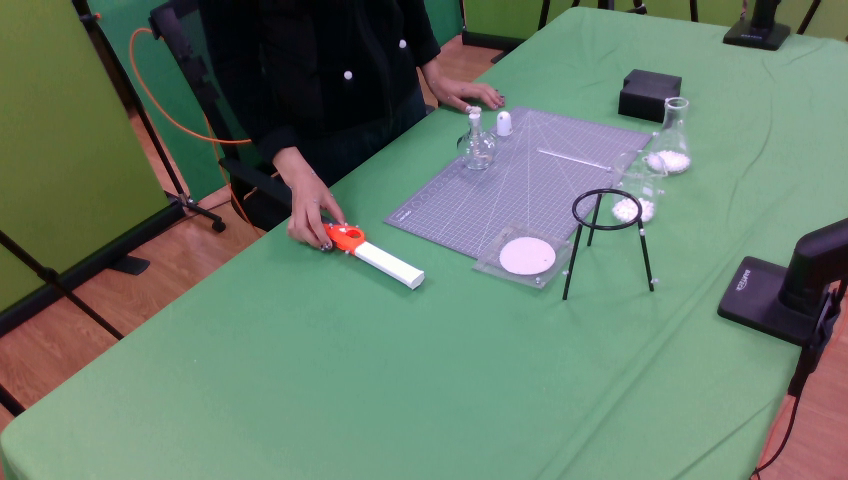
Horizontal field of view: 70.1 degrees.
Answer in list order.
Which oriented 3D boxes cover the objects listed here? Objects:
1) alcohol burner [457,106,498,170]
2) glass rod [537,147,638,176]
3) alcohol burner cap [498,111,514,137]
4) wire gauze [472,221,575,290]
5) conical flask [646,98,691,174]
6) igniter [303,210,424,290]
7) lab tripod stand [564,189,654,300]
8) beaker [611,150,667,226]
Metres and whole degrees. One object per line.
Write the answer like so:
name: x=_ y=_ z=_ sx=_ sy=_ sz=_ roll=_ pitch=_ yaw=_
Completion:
alcohol burner: x=0.097 y=-0.192 z=1.117 sx=0.078 sy=0.119 sz=0.077 roll=-7 pitch=39 yaw=6
glass rod: x=0.294 y=-0.145 z=1.104 sx=0.198 sy=0.008 sz=0.008 roll=22 pitch=50 yaw=31
alcohol burner cap: x=0.163 y=-0.235 z=1.211 sx=0.034 sy=0.048 sz=0.033 roll=-6 pitch=40 yaw=6
wire gauze: x=0.158 y=0.024 z=0.933 sx=0.120 sy=0.011 sz=0.125 roll=21 pitch=49 yaw=31
conical flask: x=0.426 y=-0.180 z=1.037 sx=0.075 sy=0.122 sz=0.075 roll=-5 pitch=40 yaw=5
igniter: x=-0.108 y=0.010 z=0.984 sx=0.274 sy=0.025 sz=0.057 roll=28 pitch=50 yaw=34
lab tripod stand: x=0.251 y=0.003 z=0.845 sx=0.148 sy=0.132 sz=0.147 roll=-7 pitch=39 yaw=6
beaker: x=0.337 y=-0.079 z=0.953 sx=0.083 sy=0.101 sz=0.074 roll=25 pitch=51 yaw=33
